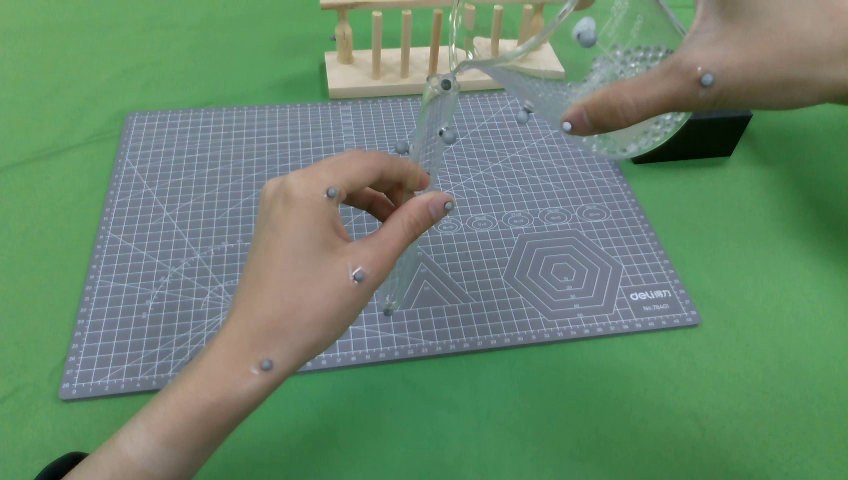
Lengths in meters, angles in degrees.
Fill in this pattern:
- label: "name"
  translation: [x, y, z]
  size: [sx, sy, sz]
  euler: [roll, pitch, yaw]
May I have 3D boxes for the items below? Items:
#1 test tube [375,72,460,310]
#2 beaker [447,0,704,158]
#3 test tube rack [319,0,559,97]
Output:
- label: "test tube"
  translation: [-0.007, -0.015, 0.311]
  size: [0.017, 0.151, 0.017]
  euler: [9, 42, -8]
- label: "beaker"
  translation: [0.069, -0.085, 0.269]
  size: [0.101, 0.084, 0.073]
  euler: [24, 33, -38]
- label: "test tube rack"
  translation: [0.019, -0.207, 0.617]
  size: [0.243, 0.086, 0.066]
  euler: [-6, 50, -8]
